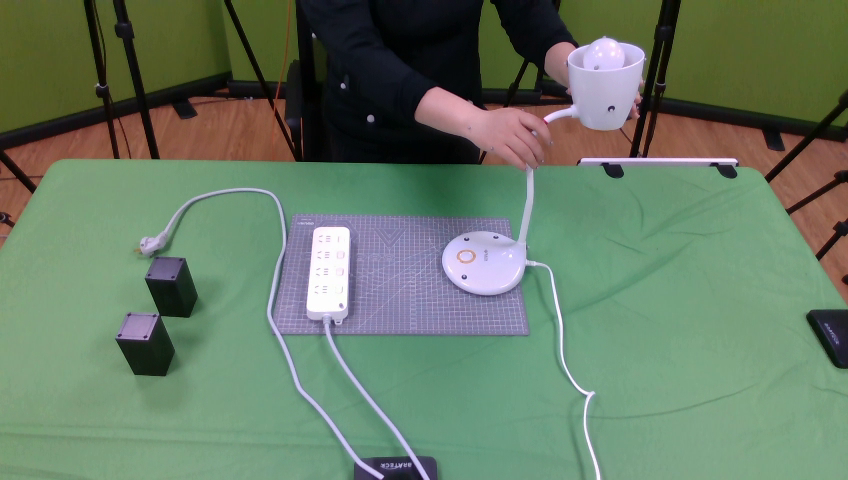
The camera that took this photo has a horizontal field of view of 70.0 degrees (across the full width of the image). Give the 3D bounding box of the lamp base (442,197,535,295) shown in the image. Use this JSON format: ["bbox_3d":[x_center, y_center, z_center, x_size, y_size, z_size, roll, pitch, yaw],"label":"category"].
[{"bbox_3d":[0.130,-0.012,1.105,0.179,0.181,0.159,-1,46,-9],"label":"lamp base"}]

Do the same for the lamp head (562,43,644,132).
[{"bbox_3d":[0.272,-0.229,0.935,0.112,0.123,0.112,-2,36,2],"label":"lamp head"}]

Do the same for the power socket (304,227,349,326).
[{"bbox_3d":[-0.177,0.059,1.115,0.072,0.033,0.225,-1,46,-4],"label":"power socket"}]

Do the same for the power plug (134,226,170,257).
[{"bbox_3d":[-0.515,0.005,1.152,0.052,0.035,0.072,-5,24,7],"label":"power plug"}]

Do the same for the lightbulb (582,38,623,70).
[{"bbox_3d":[0.274,-0.252,0.925,0.059,0.108,0.059,-9,31,6],"label":"lightbulb"}]
